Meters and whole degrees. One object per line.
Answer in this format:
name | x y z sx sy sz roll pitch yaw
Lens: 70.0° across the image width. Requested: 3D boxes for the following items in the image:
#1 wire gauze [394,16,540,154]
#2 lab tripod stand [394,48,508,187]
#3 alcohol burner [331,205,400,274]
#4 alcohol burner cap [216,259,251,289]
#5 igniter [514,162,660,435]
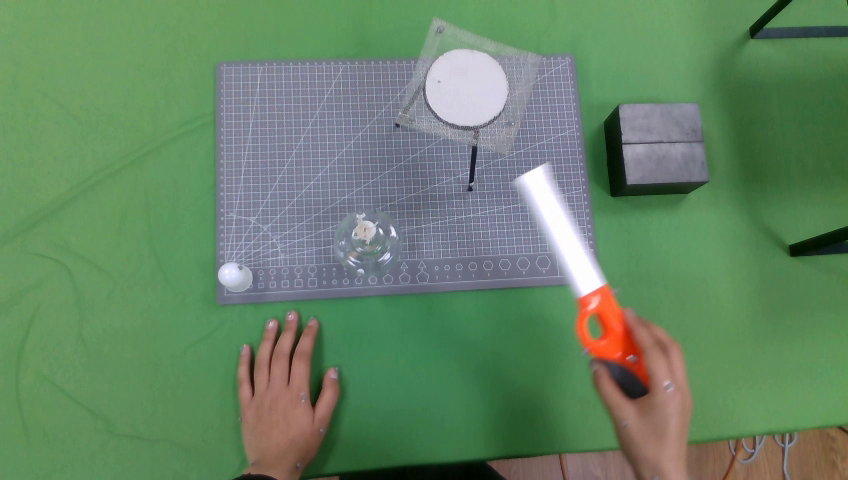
wire gauze | 0.046 -0.159 0.620 0.121 0.011 0.124 20 77 -1
lab tripod stand | 0.039 -0.148 0.686 0.148 0.132 0.147 1 77 -4
alcohol burner | -0.064 -0.004 0.660 0.078 0.119 0.077 1 80 -5
alcohol burner cap | -0.215 0.036 0.676 0.034 0.048 0.033 1 78 -5
igniter | 0.158 0.058 0.575 0.057 0.025 0.277 -27 94 -12
